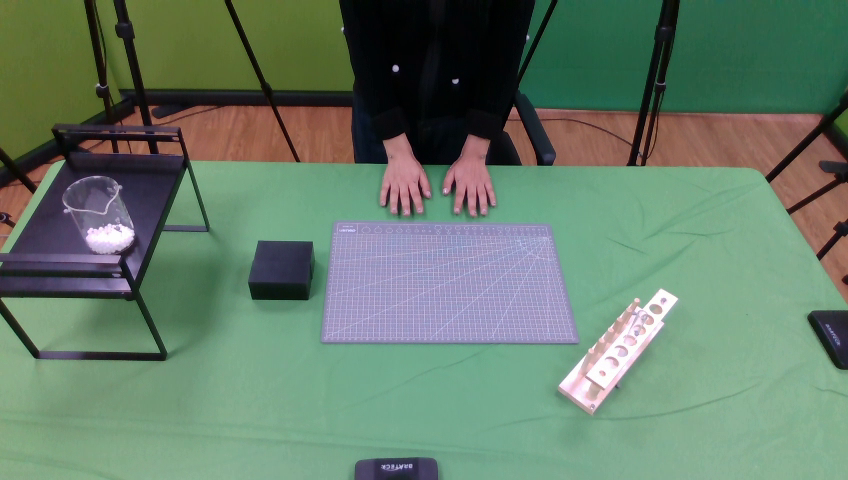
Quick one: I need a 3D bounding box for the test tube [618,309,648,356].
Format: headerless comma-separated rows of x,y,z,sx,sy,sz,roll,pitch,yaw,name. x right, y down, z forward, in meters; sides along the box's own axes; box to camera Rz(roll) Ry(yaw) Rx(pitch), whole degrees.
0.327,0.154,0.955,0.017,0.151,0.017,-1,51,1,test tube

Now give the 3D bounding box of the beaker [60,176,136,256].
-0.470,-0.031,0.888,0.074,0.101,0.083,-31,56,-28,beaker

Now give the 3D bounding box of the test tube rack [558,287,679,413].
0.326,0.170,1.009,0.066,0.085,0.242,35,54,26,test tube rack
